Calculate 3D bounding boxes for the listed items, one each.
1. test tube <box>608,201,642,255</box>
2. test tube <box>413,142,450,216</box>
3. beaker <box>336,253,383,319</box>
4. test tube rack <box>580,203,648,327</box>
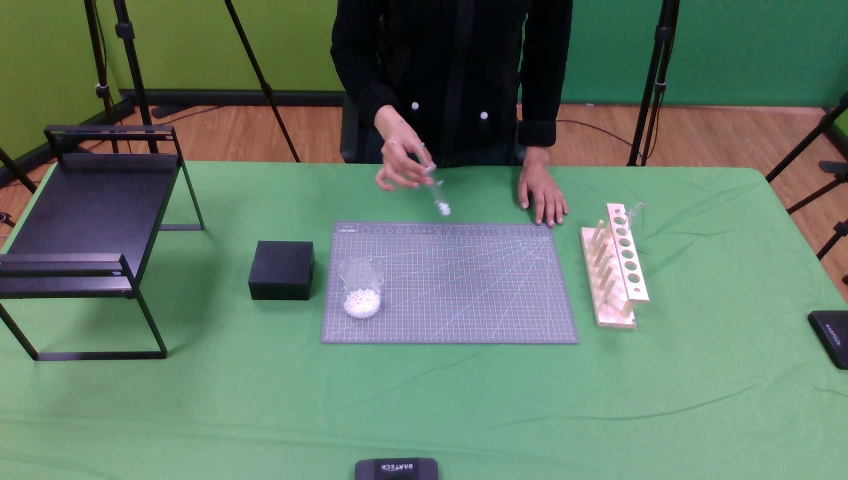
[{"bbox_3d":[0.373,-0.019,1.133,0.017,0.151,0.017,3,52,-4],"label":"test tube"},{"bbox_3d":[0.015,-0.102,1.042,0.017,0.151,0.017,-17,35,12],"label":"test tube"},{"bbox_3d":[-0.108,0.084,1.051,0.084,0.101,0.074,25,50,17],"label":"beaker"},{"bbox_3d":[0.352,0.041,1.143,0.067,0.085,0.241,4,46,0],"label":"test tube rack"}]
